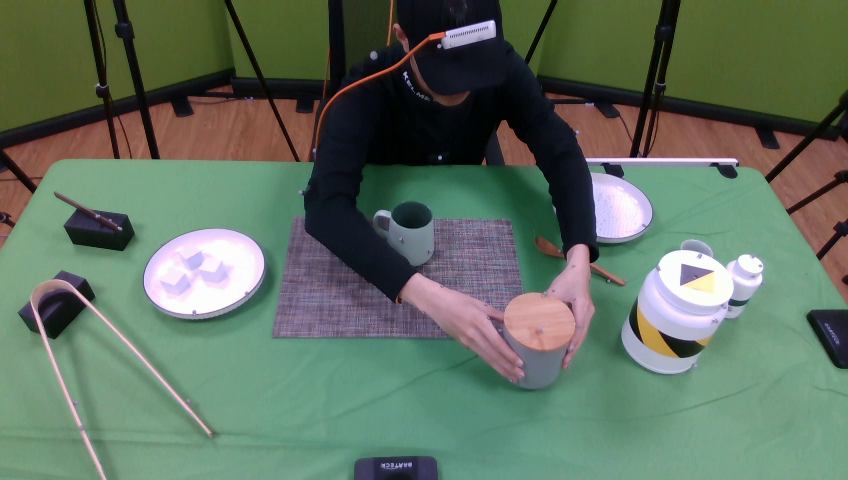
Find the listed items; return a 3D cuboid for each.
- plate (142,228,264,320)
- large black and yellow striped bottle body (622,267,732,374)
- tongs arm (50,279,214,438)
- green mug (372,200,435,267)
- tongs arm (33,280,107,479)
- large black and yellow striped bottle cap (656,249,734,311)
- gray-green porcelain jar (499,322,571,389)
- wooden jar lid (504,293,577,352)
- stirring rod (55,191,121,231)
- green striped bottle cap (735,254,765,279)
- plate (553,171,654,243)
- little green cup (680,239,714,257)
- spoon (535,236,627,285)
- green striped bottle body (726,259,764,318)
[{"bbox_3d":[-0.395,0.064,1.095,0.208,0.039,0.206,2,46,-2],"label":"plate"},{"bbox_3d":[0.415,0.119,0.997,0.131,0.185,0.130,2,46,-2],"label":"large black and yellow striped bottle body"},{"bbox_3d":[-0.459,0.178,0.949,0.386,0.028,0.028,37,60,17],"label":"tongs arm"},{"bbox_3d":[-0.040,-0.016,1.145,0.125,0.105,0.092,17,48,13],"label":"green mug"},{"bbox_3d":[-0.517,0.214,0.909,0.051,0.026,0.383,-29,63,-26],"label":"tongs arm"},{"bbox_3d":[0.419,0.060,0.938,0.115,0.019,0.114,2,47,-2],"label":"large black and yellow striped bottle cap"},{"bbox_3d":[0.175,0.168,0.964,0.106,0.127,0.105,1,47,0],"label":"gray-green porcelain jar"},{"bbox_3d":[0.175,0.127,0.919,0.108,0.021,0.107,0,45,0],"label":"wooden jar lid"},{"bbox_3d":[-0.632,-0.055,1.138,0.175,0.014,0.006,24,50,19],"label":"stirring rod"},{"bbox_3d":[0.566,0.046,1.051,0.044,0.020,0.044,0,45,0],"label":"green striped bottle cap"},{"bbox_3d":[0.374,-0.066,1.274,0.209,0.038,0.208,2,46,-2],"label":"plate"},{"bbox_3d":[0.530,0.033,1.190,0.061,0.039,0.061,2,47,-2],"label":"little green cup"},{"bbox_3d":[0.303,0.040,1.178,0.193,0.022,0.041,25,34,20],"label":"spoon"},{"bbox_3d":[0.563,0.081,1.089,0.063,0.120,0.063,2,46,-2],"label":"green striped bottle body"}]
